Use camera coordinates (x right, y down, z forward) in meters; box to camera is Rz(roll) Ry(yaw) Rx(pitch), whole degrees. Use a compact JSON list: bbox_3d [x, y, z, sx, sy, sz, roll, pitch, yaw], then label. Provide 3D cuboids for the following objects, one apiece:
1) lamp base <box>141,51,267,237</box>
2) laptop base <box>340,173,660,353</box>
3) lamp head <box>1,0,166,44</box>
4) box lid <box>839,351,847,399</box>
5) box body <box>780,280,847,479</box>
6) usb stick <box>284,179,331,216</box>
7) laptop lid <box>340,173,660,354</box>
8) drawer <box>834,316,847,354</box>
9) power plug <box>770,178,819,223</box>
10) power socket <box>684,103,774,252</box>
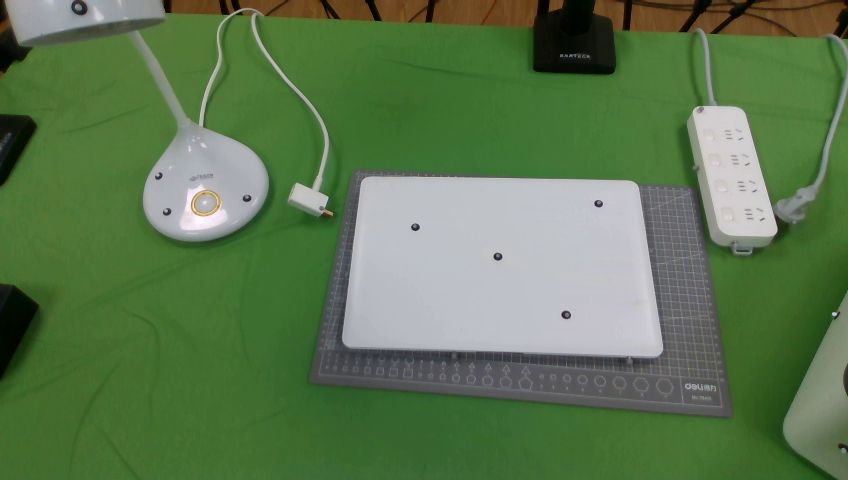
[{"bbox_3d":[-0.294,-0.122,0.731,0.161,0.182,0.177,-21,57,-11],"label":"lamp base"},{"bbox_3d":[0.087,0.022,0.726,0.354,0.023,0.233,1,62,3],"label":"laptop base"},{"bbox_3d":[-0.274,-0.220,0.466,0.112,0.123,0.112,-12,14,3],"label":"lamp head"},{"bbox_3d":[0.545,0.064,0.514,0.261,0.015,0.370,33,66,20],"label":"box lid"},{"bbox_3d":[0.547,0.104,0.577,0.252,0.162,0.363,34,66,20],"label":"box body"},{"bbox_3d":[-0.144,-0.051,0.765,0.059,0.021,0.027,28,63,-20],"label":"usb stick"},{"bbox_3d":[0.086,0.018,0.715,0.356,0.013,0.239,2,61,4],"label":"laptop lid"},{"bbox_3d":[0.574,0.072,0.624,0.193,0.074,0.211,32,71,23],"label":"drawer"},{"bbox_3d":[0.456,-0.043,0.741,0.073,0.053,0.035,-10,53,-24],"label":"power plug"},{"bbox_3d":[0.386,-0.090,0.775,0.072,0.033,0.224,3,59,3],"label":"power socket"}]
